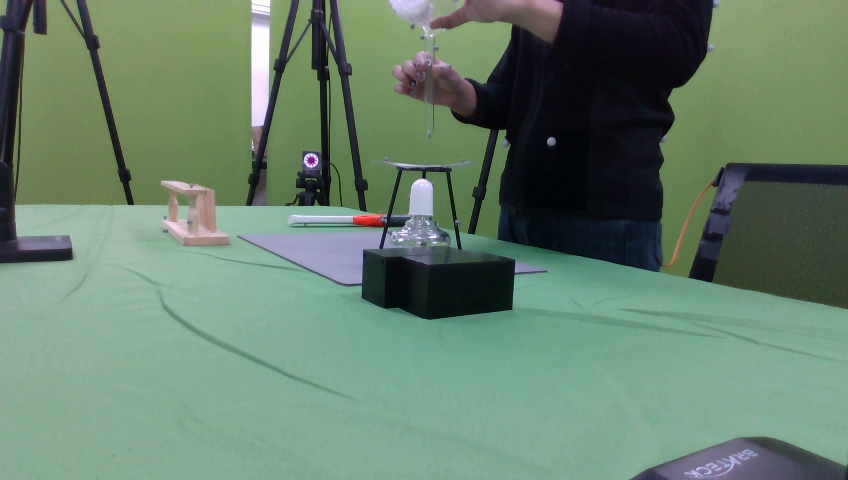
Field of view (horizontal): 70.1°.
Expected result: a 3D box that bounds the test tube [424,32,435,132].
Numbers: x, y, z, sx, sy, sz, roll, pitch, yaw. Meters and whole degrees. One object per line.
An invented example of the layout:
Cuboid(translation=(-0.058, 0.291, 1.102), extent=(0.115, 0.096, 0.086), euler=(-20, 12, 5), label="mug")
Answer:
Cuboid(translation=(0.008, -0.241, 0.932), extent=(0.017, 0.150, 0.017), euler=(0, 24, 0), label="test tube")

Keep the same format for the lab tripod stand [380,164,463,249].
Cuboid(translation=(-0.003, -0.055, 0.967), extent=(0.148, 0.131, 0.148), euler=(2, 9, 0), label="lab tripod stand")

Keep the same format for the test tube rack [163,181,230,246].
Cuboid(translation=(-0.387, -0.050, 1.015), extent=(0.067, 0.085, 0.241), euler=(-2, 9, -30), label="test tube rack")

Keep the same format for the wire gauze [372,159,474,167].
Cuboid(translation=(-0.004, -0.122, 0.958), extent=(0.122, 0.011, 0.124), euler=(-4, 9, -33), label="wire gauze")

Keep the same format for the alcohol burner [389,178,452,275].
Cuboid(translation=(-0.004, -0.017, 0.749), extent=(0.078, 0.119, 0.078), euler=(1, 9, 0), label="alcohol burner")

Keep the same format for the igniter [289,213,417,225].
Cuboid(translation=(-0.144, -0.044, 1.275), extent=(0.278, 0.025, 0.057), euler=(-1, -2, -28), label="igniter")

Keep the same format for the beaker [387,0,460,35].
Cuboid(translation=(-0.003, -0.338, 0.850), extent=(0.074, 0.084, 0.100), euler=(21, 17, 21), label="beaker")

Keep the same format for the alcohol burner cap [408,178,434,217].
Cuboid(translation=(-0.003, -0.053, 0.746), extent=(0.034, 0.048, 0.034), euler=(3, 3, 0), label="alcohol burner cap")
